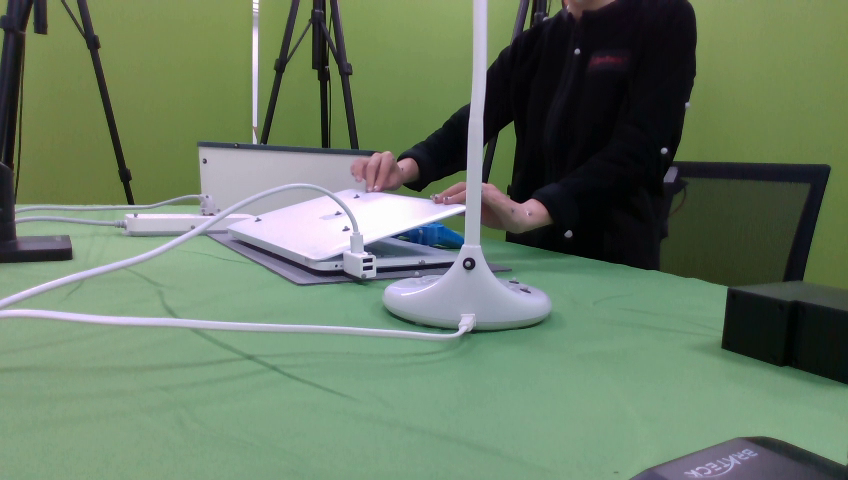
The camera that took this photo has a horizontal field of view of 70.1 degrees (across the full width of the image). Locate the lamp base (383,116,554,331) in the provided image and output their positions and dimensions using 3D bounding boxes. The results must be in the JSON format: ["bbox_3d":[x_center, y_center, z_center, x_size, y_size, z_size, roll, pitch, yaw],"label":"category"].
[{"bbox_3d":[0.045,-0.019,0.547,0.161,0.180,0.179,2,10,-4],"label":"lamp base"}]

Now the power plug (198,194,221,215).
[{"bbox_3d":[-0.387,-0.055,1.089,0.035,0.052,0.072,-1,7,-22],"label":"power plug"}]

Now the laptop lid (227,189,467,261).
[{"bbox_3d":[-0.124,-0.034,0.880,0.243,0.013,0.355,-19,18,-29],"label":"laptop lid"}]

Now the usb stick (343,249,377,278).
[{"bbox_3d":[-0.076,0.026,0.687,0.021,0.027,0.059,-7,9,-32],"label":"usb stick"}]

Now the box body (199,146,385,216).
[{"bbox_3d":[-0.276,-0.124,1.334,0.364,0.160,0.254,3,7,1],"label":"box body"}]

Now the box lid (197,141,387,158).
[{"bbox_3d":[-0.275,-0.197,1.326,0.372,0.015,0.263,4,8,1],"label":"box lid"}]

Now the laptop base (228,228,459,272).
[{"bbox_3d":[-0.122,0.012,0.889,0.237,0.023,0.352,2,6,-35],"label":"laptop base"}]

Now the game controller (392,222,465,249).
[{"bbox_3d":[-0.006,-0.017,1.039,0.097,0.051,0.154,-4,10,-34],"label":"game controller"}]

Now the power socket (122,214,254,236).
[{"bbox_3d":[-0.398,-0.028,1.049,0.228,0.032,0.072,-3,8,-34],"label":"power socket"}]
